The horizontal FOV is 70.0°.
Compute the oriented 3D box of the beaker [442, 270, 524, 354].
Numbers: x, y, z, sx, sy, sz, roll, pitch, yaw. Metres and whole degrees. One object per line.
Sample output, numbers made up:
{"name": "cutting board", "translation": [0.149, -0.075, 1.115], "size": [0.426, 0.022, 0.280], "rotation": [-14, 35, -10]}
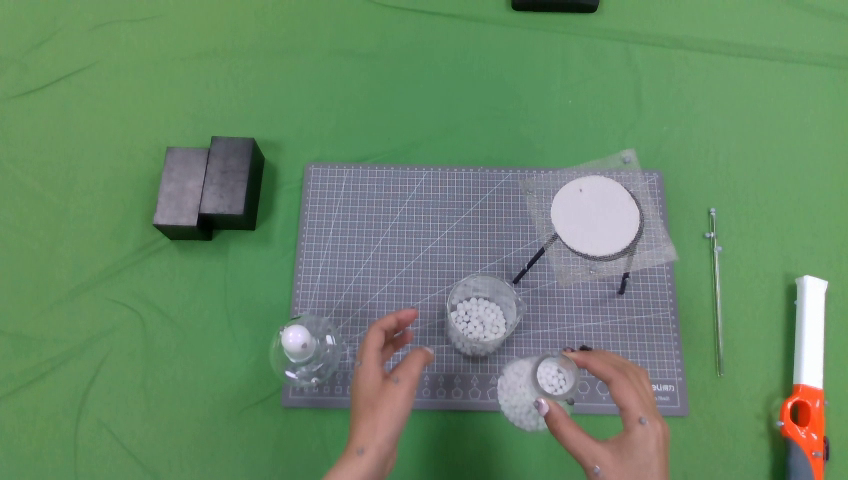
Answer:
{"name": "beaker", "translation": [0.059, 0.081, 0.653], "size": [0.084, 0.101, 0.073], "rotation": [-4, 71, -2]}

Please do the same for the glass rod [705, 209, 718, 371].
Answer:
{"name": "glass rod", "translation": [0.339, 0.055, 0.715], "size": [0.008, 0.008, 0.198], "rotation": [6, 71, 2]}

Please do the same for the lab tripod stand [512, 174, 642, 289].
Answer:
{"name": "lab tripod stand", "translation": [0.170, -0.002, 0.664], "size": [0.148, 0.132, 0.147], "rotation": [0, 73, 1]}

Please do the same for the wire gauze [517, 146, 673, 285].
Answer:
{"name": "wire gauze", "translation": [0.169, -0.025, 0.601], "size": [0.125, 0.011, 0.120], "rotation": [-15, 73, -4]}

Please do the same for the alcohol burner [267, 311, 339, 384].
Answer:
{"name": "alcohol burner", "translation": [-0.129, 0.110, 0.634], "size": [0.078, 0.119, 0.077], "rotation": [1, 72, -1]}

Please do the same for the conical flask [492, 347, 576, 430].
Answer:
{"name": "conical flask", "translation": [0.101, 0.124, 0.529], "size": [0.075, 0.122, 0.075], "rotation": [0, 70, 1]}

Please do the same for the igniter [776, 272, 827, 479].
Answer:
{"name": "igniter", "translation": [0.416, 0.167, 0.667], "size": [0.057, 0.025, 0.275], "rotation": [16, 72, -5]}

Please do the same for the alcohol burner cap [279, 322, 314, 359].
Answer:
{"name": "alcohol burner cap", "translation": [-0.128, 0.097, 0.601], "size": [0.034, 0.048, 0.033], "rotation": [2, 69, -5]}
